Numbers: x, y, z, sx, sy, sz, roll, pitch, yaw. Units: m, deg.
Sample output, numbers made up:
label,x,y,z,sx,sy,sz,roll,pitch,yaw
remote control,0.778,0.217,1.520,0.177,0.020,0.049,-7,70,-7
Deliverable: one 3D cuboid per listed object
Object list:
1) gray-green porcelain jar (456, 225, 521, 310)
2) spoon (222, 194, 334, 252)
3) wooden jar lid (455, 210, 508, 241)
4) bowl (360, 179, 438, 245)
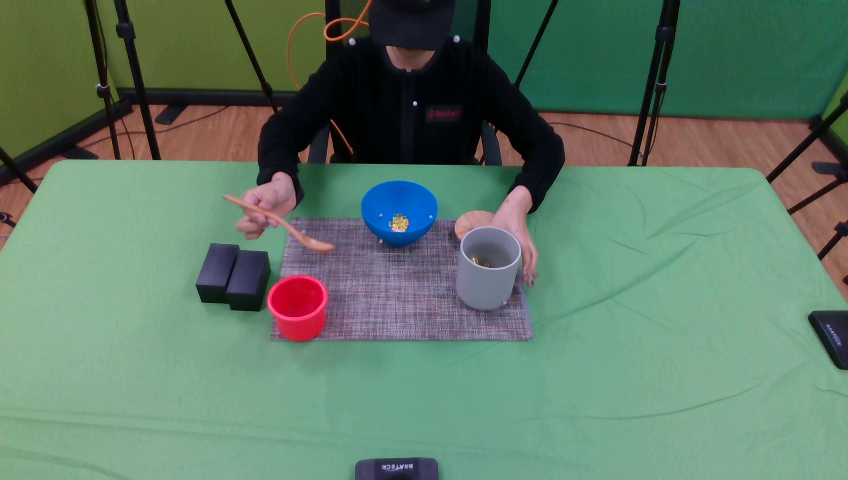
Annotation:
label,x,y,z,sx,sy,sz,roll,pitch,yaw
gray-green porcelain jar,0.111,0.054,1.077,0.106,0.127,0.105,2,46,-2
spoon,-0.232,-0.029,0.963,0.194,0.021,0.041,30,15,-1
wooden jar lid,0.115,-0.018,1.220,0.108,0.021,0.107,3,47,-3
bowl,-0.049,-0.042,1.190,0.151,0.077,0.150,2,46,-2
